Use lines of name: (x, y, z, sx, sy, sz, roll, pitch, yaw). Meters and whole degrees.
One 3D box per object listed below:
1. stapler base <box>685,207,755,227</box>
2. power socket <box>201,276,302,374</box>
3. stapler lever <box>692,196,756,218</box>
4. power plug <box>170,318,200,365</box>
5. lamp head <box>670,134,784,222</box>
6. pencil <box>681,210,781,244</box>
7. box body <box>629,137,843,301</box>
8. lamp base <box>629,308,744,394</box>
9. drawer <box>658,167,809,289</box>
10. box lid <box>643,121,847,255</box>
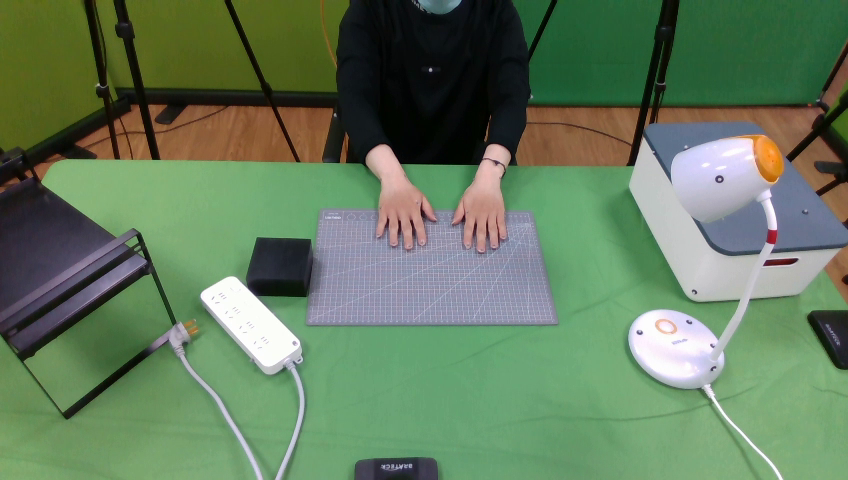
stapler base: (0.590, -0.051, 1.205, 0.130, 0.024, 0.041, 3, 58, 11)
power socket: (-0.297, 0.141, 1.034, 0.072, 0.033, 0.225, -34, 58, -30)
stapler lever: (0.588, -0.065, 1.185, 0.118, 0.040, 0.026, 2, 58, 12)
power plug: (-0.392, 0.167, 1.013, 0.052, 0.035, 0.072, -31, 89, -23)
lamp head: (0.422, -0.089, 0.829, 0.113, 0.123, 0.112, 8, 74, -32)
pencil: (0.599, -0.027, 1.186, 0.194, 0.012, 0.012, 19, 48, 10)
box body: (0.593, -0.062, 1.202, 0.254, 0.161, 0.361, -4, 47, -7)
lamp base: (0.446, 0.139, 0.987, 0.161, 0.181, 0.178, -18, 53, -20)
drawer: (0.584, -0.024, 1.164, 0.194, 0.073, 0.210, -11, 55, 3)
box lid: (0.596, -0.115, 1.150, 0.263, 0.015, 0.369, -3, 46, -7)
